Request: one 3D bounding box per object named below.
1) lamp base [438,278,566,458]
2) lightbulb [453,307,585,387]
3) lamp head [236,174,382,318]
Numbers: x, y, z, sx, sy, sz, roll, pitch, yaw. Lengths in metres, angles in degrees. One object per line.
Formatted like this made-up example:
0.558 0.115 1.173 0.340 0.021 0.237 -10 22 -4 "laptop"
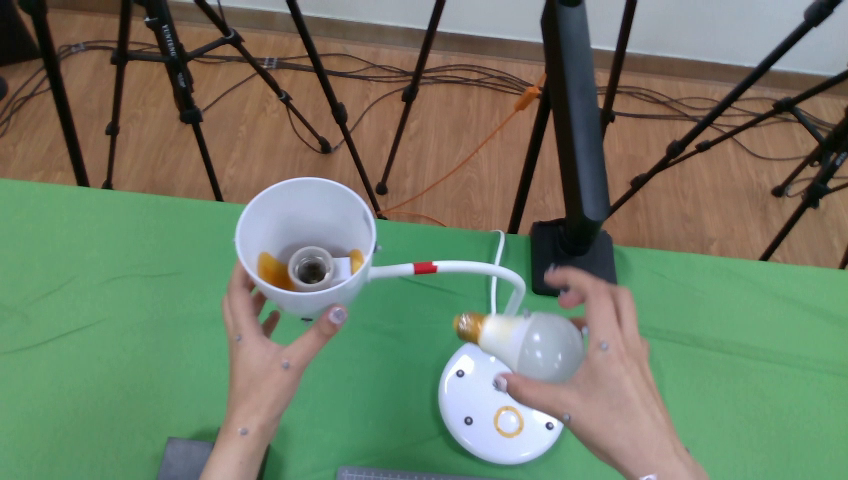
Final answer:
0.100 0.138 0.699 0.161 0.181 0.177 -7 55 -9 "lamp base"
0.071 0.076 0.471 0.107 0.060 0.059 15 54 28 "lightbulb"
-0.095 0.018 0.539 0.112 0.124 0.111 0 62 1 "lamp head"
